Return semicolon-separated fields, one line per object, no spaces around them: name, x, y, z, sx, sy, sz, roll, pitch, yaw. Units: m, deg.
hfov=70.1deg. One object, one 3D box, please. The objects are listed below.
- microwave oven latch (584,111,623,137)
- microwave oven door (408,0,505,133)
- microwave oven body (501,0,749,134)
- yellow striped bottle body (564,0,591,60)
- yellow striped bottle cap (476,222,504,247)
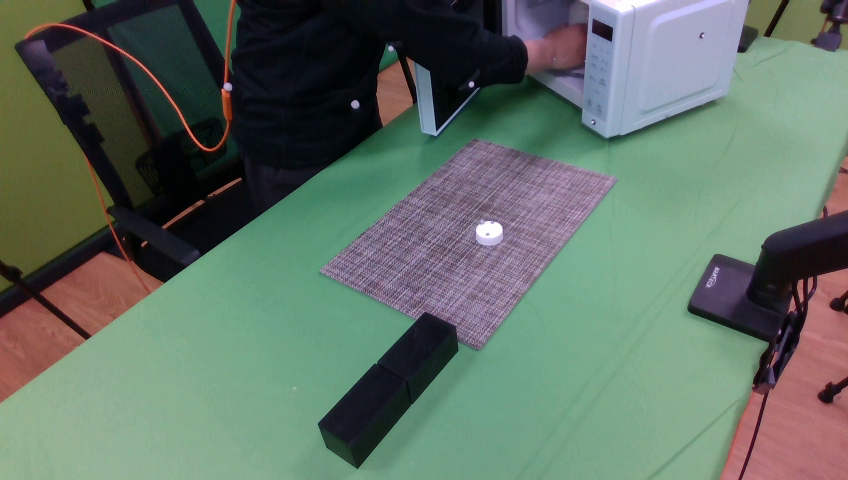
microwave oven latch;0.337;-0.222;1.142;0.030;0.029;0.078;-21;42;-14
microwave oven door;0.079;-0.414;1.241;0.039;0.245;0.356;15;45;24
microwave oven body;0.382;-0.444;1.246;0.327;0.261;0.437;-22;42;-16
yellow striped bottle body;0.328;-0.447;1.269;0.063;0.121;0.062;-5;40;4
yellow striped bottle cap;0.105;-0.010;0.966;0.044;0.019;0.044;-4;39;3
